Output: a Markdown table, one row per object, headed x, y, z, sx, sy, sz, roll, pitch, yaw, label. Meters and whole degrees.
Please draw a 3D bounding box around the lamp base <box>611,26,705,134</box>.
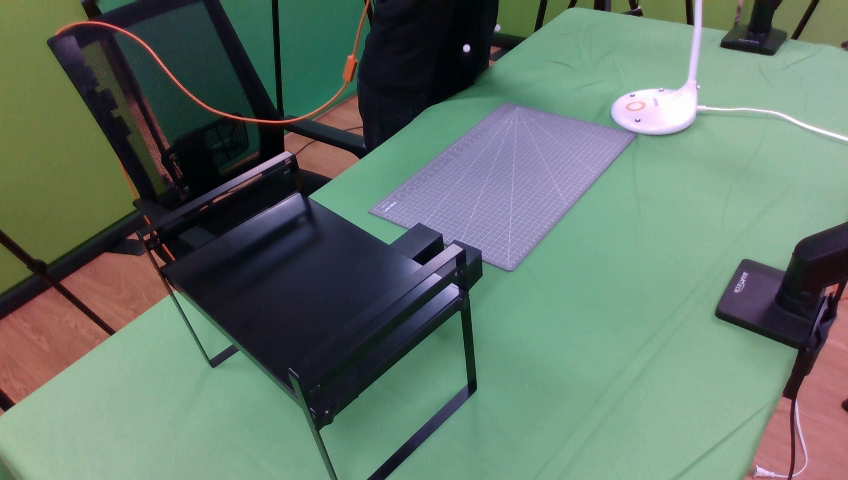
| x | y | z | sx | sy | sz | roll | pitch | yaw | label |
| --- | --- | --- | --- | --- | --- | --- | --- | --- | --- |
| 0.458 | -0.316 | 1.154 | 0.179 | 0.181 | 0.159 | -6 | 40 | -1 | lamp base |
